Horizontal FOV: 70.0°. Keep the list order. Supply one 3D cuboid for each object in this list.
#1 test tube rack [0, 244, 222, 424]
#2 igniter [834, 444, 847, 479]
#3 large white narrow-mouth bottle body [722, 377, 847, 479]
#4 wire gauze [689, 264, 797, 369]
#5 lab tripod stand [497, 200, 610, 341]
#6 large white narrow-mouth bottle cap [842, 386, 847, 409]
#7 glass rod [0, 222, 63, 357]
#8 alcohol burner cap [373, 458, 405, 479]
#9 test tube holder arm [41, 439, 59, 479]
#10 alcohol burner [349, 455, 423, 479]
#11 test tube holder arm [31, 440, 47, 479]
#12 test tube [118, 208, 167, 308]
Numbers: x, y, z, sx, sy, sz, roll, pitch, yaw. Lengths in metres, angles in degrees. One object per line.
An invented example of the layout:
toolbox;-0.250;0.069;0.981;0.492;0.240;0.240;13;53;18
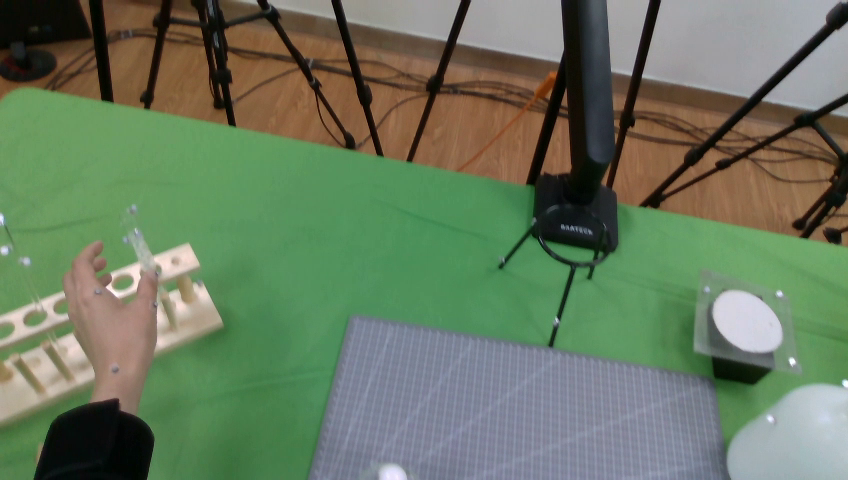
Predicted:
test tube rack;-0.354;0.098;0.652;0.243;0.086;0.066;-24;59;-23
igniter;0.451;0.341;0.608;0.057;0.025;0.274;22;52;-4
large white narrow-mouth bottle body;0.387;0.195;0.605;0.102;0.196;0.101;3;52;-4
wire gauze;0.386;0.092;0.739;0.121;0.011;0.124;16;52;5
lab tripod stand;0.164;0.030;0.741;0.148;0.132;0.147;4;54;-6
large white narrow-mouth bottle cap;0.395;0.141;0.537;0.038;0.024;0.037;3;52;-4
glass rod;-0.386;0.056;0.596;0.008;0.201;0.008;6;43;-5
alcohol burner cap;-0.031;0.214;0.538;0.034;0.048;0.033;3;47;-3
test tube holder arm;-0.330;0.258;0.515;0.013;0.015;0.176;0;52;-20
alcohol burner;-0.035;0.236;0.567;0.078;0.120;0.077;5;52;-6
test tube holder arm;-0.345;0.222;0.538;0.010;0.015;0.087;0;52;-21
test tube;-0.299;0.025;0.651;0.017;0.151;0.017;2;47;-2
